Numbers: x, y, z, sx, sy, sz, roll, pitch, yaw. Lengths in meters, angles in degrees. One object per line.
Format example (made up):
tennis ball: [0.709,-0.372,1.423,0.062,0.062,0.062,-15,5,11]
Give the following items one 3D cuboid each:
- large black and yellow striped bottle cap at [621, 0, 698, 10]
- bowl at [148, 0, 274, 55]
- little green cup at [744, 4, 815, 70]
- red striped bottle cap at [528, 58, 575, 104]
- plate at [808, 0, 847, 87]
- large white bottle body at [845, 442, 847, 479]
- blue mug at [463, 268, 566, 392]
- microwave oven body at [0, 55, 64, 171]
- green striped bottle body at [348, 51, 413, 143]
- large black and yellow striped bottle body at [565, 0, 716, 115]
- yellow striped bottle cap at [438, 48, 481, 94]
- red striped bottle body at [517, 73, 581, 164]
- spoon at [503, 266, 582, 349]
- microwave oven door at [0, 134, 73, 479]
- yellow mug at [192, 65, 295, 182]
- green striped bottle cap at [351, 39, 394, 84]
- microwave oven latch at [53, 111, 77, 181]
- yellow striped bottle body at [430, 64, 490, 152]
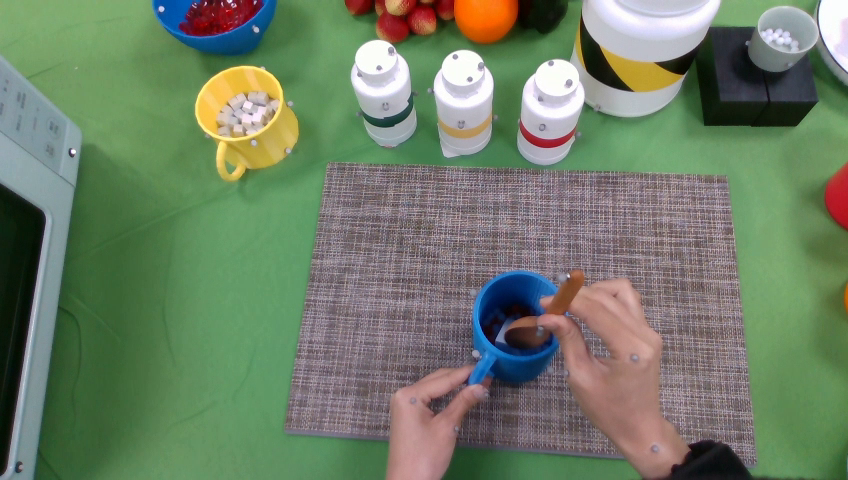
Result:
large black and yellow striped bottle cap: [0.219,-0.265,0.565,0.115,0.019,0.114,-2,67,4]
bowl: [-0.252,-0.286,0.756,0.151,0.077,0.150,-1,69,3]
little green cup: [0.377,-0.215,0.647,0.061,0.039,0.061,-1,66,2]
red striped bottle cap: [0.126,-0.157,0.598,0.044,0.018,0.044,0,67,1]
plate: [0.548,-0.237,0.698,0.209,0.038,0.207,-1,69,4]
large white bottle body: [0.438,0.181,0.464,0.130,0.186,0.129,-2,68,4]
blue mug: [0.075,0.094,0.564,0.082,0.106,0.116,36,75,17]
microwave oven body: [-0.563,0.036,0.551,0.326,0.262,0.438,-6,69,2]
green striped bottle body: [-0.047,-0.164,0.671,0.063,0.120,0.062,-1,68,4]
large black and yellow striped bottle body: [0.227,-0.235,0.643,0.131,0.185,0.130,-2,68,4]
yellow striped bottle cap: [0.036,-0.171,0.611,0.044,0.019,0.044,-1,70,4]
red striped bottle body: [0.132,-0.137,0.646,0.063,0.120,0.062,-3,67,6]
spoon: [0.092,0.057,0.461,0.041,0.195,0.021,0,71,-2]
microwave oven door: [-0.415,0.058,0.526,0.039,0.245,0.353,-6,68,3]
yellow mug: [-0.211,-0.128,0.697,0.100,0.064,0.130,12,71,8]
green striped bottle cap: [-0.053,-0.184,0.622,0.044,0.020,0.044,-1,68,2]
microwave oven latch: [-0.424,-0.107,0.700,0.030,0.030,0.078,-5,69,2]
yellow striped bottle body: [0.040,-0.152,0.659,0.063,0.121,0.062,-2,68,5]
